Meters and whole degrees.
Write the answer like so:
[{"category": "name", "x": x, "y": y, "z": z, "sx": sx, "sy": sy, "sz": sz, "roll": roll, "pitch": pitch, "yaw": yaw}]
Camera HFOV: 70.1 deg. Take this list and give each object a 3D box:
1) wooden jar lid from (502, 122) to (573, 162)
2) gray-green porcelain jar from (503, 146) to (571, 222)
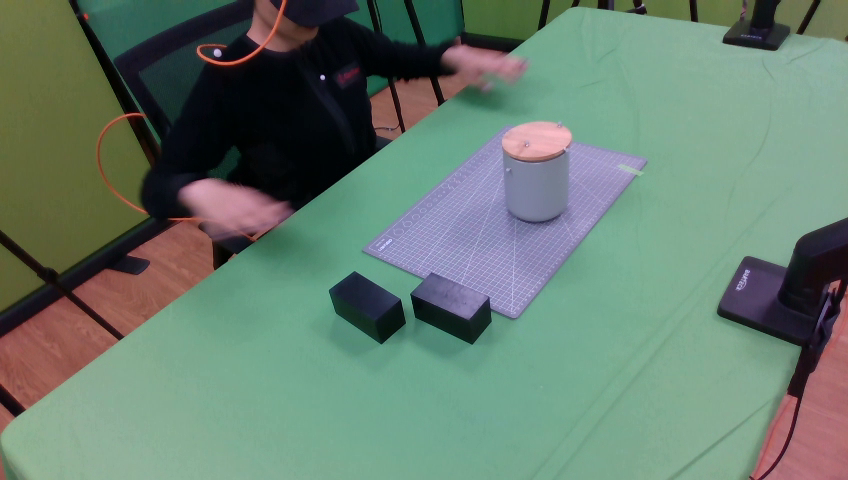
[{"category": "wooden jar lid", "x": 0.176, "y": -0.150, "z": 0.940, "sx": 0.108, "sy": 0.021, "sz": 0.108, "roll": -6, "pitch": 39, "yaw": 5}, {"category": "gray-green porcelain jar", "x": 0.184, "y": -0.102, "z": 0.983, "sx": 0.106, "sy": 0.127, "sz": 0.105, "roll": -5, "pitch": 40, "yaw": 5}]
